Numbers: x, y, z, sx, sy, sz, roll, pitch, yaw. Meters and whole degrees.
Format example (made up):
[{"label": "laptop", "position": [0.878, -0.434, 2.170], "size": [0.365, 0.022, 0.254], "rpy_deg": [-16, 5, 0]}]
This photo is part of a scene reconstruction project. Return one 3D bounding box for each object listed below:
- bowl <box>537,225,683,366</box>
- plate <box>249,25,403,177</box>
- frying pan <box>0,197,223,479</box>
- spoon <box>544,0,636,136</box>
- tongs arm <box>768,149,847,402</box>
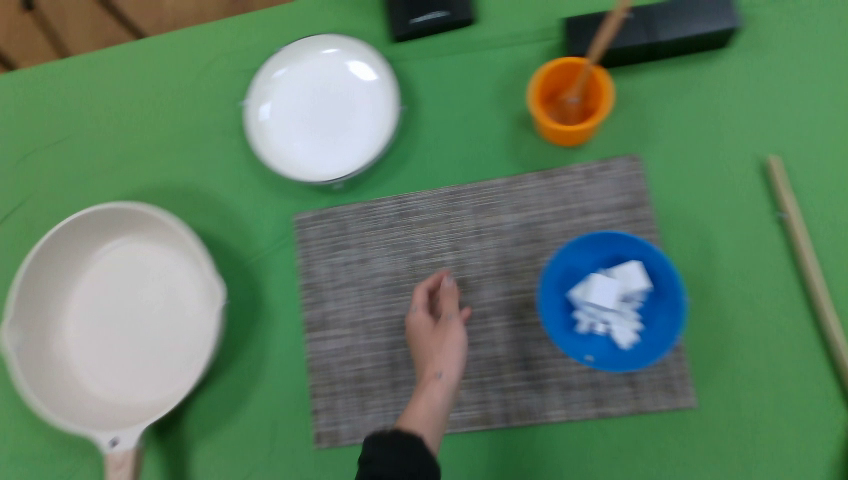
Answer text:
[{"label": "bowl", "position": [0.201, 0.065, 0.677], "size": [0.151, 0.077, 0.150], "rpy_deg": [-2, 79, 9]}, {"label": "plate", "position": [-0.126, -0.180, 0.801], "size": [0.207, 0.039, 0.207], "rpy_deg": [-2, 80, 9]}, {"label": "frying pan", "position": [-0.373, 0.189, 0.740], "size": [0.306, 0.103, 0.484], "rpy_deg": [-11, 70, 8]}, {"label": "spoon", "position": [0.194, -0.203, 0.696], "size": [0.041, 0.195, 0.021], "rpy_deg": [42, 44, 17]}, {"label": "tongs arm", "position": [0.448, 0.080, 0.663], "size": [0.028, 0.028, 0.385], "rpy_deg": [-14, 79, 4]}]
